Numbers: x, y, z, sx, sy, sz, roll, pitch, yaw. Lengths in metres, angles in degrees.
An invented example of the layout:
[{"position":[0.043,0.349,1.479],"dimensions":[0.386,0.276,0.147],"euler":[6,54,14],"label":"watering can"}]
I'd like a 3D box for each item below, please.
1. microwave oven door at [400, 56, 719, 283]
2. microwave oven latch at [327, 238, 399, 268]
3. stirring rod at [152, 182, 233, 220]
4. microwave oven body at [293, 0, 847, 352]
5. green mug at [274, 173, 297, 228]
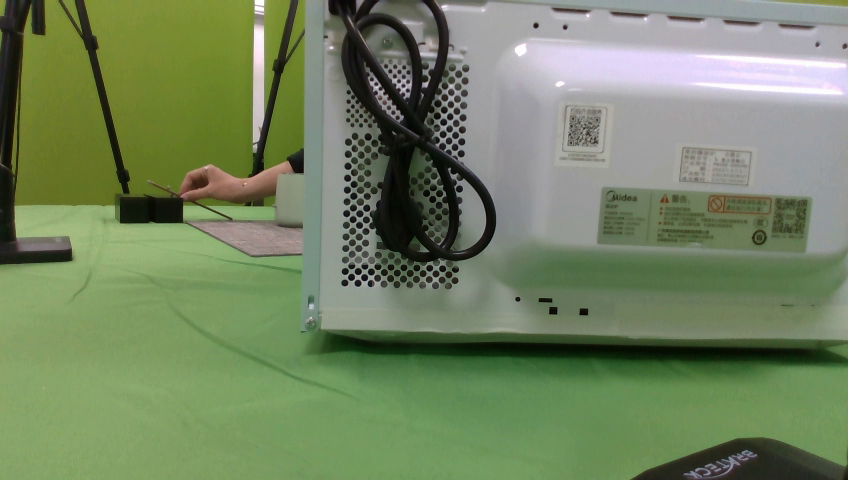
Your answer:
[{"position":[0.155,-0.078,0.697],"dimensions":[0.356,0.243,0.039],"euler":[2,8,-5],"label":"microwave oven door"},{"position":[-0.069,0.014,0.694],"dimensions":[0.079,0.029,0.030],"euler":[3,7,-3],"label":"microwave oven latch"},{"position":[-0.475,-0.079,1.249],"dimensions":[0.177,0.006,0.014],"euler":[28,-2,-36],"label":"stirring rod"},{"position":[0.122,-0.055,0.550],"dimensions":[0.442,0.260,0.325],"euler":[3,7,-5],"label":"microwave oven body"},{"position":[-0.242,-0.081,1.221],"dimensions":[0.092,0.105,0.126],"euler":[8,9,39],"label":"green mug"}]
